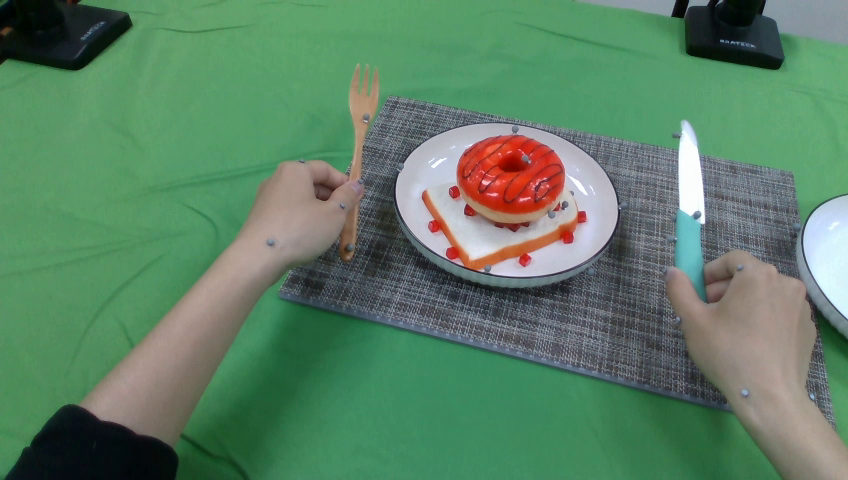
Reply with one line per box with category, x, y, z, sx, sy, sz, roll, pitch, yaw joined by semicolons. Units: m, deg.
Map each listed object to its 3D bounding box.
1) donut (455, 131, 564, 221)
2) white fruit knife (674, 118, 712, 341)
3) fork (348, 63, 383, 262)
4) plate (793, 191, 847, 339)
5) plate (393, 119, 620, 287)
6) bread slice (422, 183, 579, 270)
donut;0.076;-0.058;0.543;0.099;0.048;0.098;1;49;-1
white fruit knife;0.222;-0.018;0.507;0.027;0.016;0.206;10;65;-2
fork;-0.055;-0.075;0.543;0.028;0.019;0.205;-14;57;29
plate;0.425;0.041;0.523;0.208;0.039;0.205;1;49;-1
plate;0.074;-0.036;0.570;0.209;0.038;0.207;1;49;-1
bread slice;0.076;-0.030;0.569;0.132;0.019;0.103;-20;53;-17
